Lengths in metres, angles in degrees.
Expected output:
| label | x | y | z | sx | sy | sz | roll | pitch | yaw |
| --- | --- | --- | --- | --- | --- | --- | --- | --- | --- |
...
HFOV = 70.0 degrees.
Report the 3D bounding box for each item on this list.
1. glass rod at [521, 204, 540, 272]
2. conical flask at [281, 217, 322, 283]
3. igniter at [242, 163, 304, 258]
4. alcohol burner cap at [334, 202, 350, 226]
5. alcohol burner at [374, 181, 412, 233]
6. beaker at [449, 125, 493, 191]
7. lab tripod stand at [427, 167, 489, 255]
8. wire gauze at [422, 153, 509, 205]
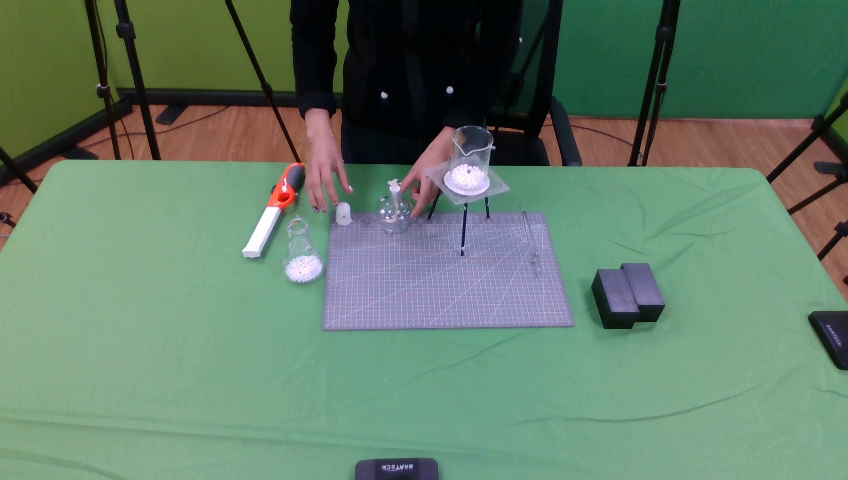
| label | x | y | z | sx | sy | sz | roll | pitch | yaw |
| --- | --- | --- | --- | --- | --- | --- | --- | --- | --- |
| glass rod | 0.215 | -0.008 | 1.230 | 0.008 | 0.008 | 0.198 | 0 | 43 | -3 |
| conical flask | -0.225 | 0.016 | 1.097 | 0.075 | 0.122 | 0.075 | 3 | 46 | -2 |
| igniter | -0.305 | -0.069 | 1.239 | 0.057 | 0.025 | 0.275 | 2 | 45 | 12 |
| alcohol burner cap | -0.167 | -0.055 | 1.223 | 0.034 | 0.048 | 0.033 | 2 | 45 | -2 |
| alcohol burner | -0.060 | -0.071 | 1.197 | 0.078 | 0.119 | 0.077 | 3 | 47 | -3 |
| beaker | 0.083 | -0.146 | 1.108 | 0.074 | 0.101 | 0.083 | 15 | 47 | 11 |
| lab tripod stand | 0.076 | -0.068 | 1.191 | 0.148 | 0.132 | 0.147 | 2 | 44 | -2 |
| wire gauze | 0.078 | -0.114 | 1.144 | 0.125 | 0.011 | 0.120 | -21 | 49 | -20 |
